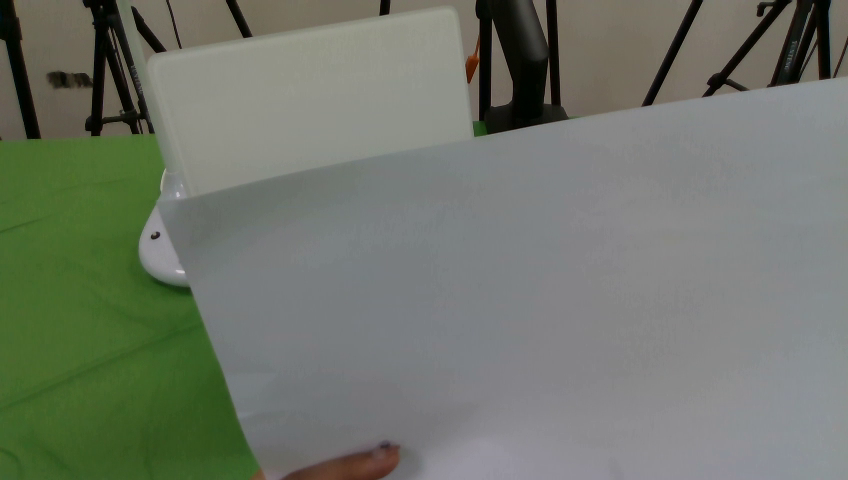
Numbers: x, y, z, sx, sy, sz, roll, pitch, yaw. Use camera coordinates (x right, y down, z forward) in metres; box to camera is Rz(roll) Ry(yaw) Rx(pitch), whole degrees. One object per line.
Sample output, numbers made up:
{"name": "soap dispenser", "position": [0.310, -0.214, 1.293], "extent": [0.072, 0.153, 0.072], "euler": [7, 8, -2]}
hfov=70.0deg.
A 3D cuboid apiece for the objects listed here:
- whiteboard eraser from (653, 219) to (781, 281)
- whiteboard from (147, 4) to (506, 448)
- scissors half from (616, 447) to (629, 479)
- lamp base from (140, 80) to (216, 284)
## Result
{"name": "whiteboard eraser", "position": [0.301, 0.012, 0.626], "extent": [0.113, 0.042, 0.055], "euler": [-8, 40, -8]}
{"name": "whiteboard", "position": [-0.073, -0.022, 0.523], "extent": [0.218, 0.307, 0.142], "euler": [-16, 21, -16]}
{"name": "scissors half", "position": [0.109, 0.179, 0.260], "extent": [0.013, 0.040, 0.174], "euler": [-13, 73, 0]}
{"name": "lamp base", "position": [-0.248, -0.070, 0.645], "extent": [0.177, 0.182, 0.160], "euler": [25, 46, 33]}
